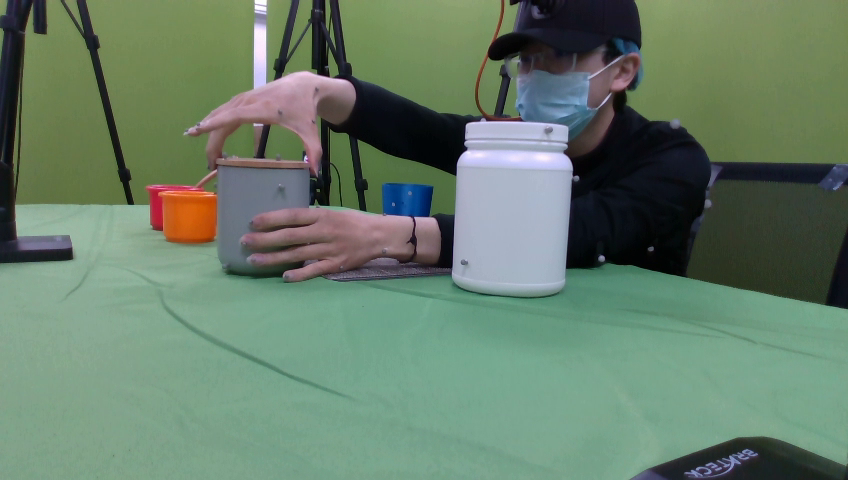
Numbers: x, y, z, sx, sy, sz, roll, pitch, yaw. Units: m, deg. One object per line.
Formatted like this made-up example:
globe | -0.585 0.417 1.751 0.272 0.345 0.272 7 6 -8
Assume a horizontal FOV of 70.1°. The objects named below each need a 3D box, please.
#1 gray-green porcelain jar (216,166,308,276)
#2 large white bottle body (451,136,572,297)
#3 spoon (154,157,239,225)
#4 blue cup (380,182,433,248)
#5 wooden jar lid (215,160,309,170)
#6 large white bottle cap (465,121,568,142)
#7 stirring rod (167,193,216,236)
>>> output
gray-green porcelain jar | -0.195 -0.024 0.729 0.106 0.126 0.106 3 7 0
large white bottle body | 0.099 -0.037 0.688 0.131 0.184 0.130 2 7 0
spoon | -0.411 -0.092 1.104 0.041 0.022 0.194 12 56 52
blue cup | -0.029 -0.041 0.979 0.093 0.100 0.092 2 9 0
wooden jar lid | -0.191 -0.085 0.721 0.108 0.020 0.108 -1 7 0
large white bottle cap | 0.103 -0.120 0.677 0.115 0.018 0.115 2 7 0
stirring rod | -0.341 -0.066 0.967 0.176 0.006 0.014 -42 24 -9
